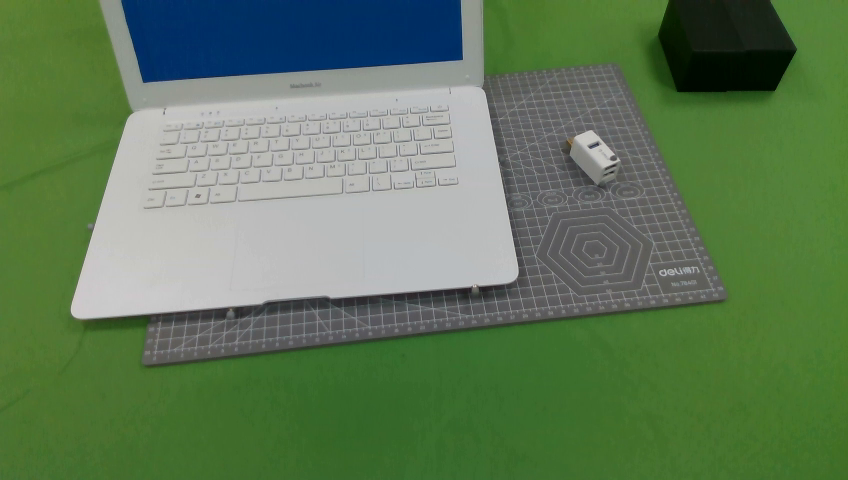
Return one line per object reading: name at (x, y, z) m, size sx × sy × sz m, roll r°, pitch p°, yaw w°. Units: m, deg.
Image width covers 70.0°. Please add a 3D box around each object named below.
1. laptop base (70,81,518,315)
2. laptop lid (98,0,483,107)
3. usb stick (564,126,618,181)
laptop base at (-0.108, -0.047, 0.541) m, size 0.354 × 0.023 × 0.233 m, roll -5°, pitch 57°, yaw -1°
laptop lid at (-0.124, -0.244, 0.552) m, size 0.357 × 0.243 × 0.013 m, roll -6°, pitch 29°, yaw -1°
usb stick at (0.149, -0.083, 0.551) m, size 0.021 × 0.027 × 0.058 m, roll -24°, pitch 54°, yaw -14°
